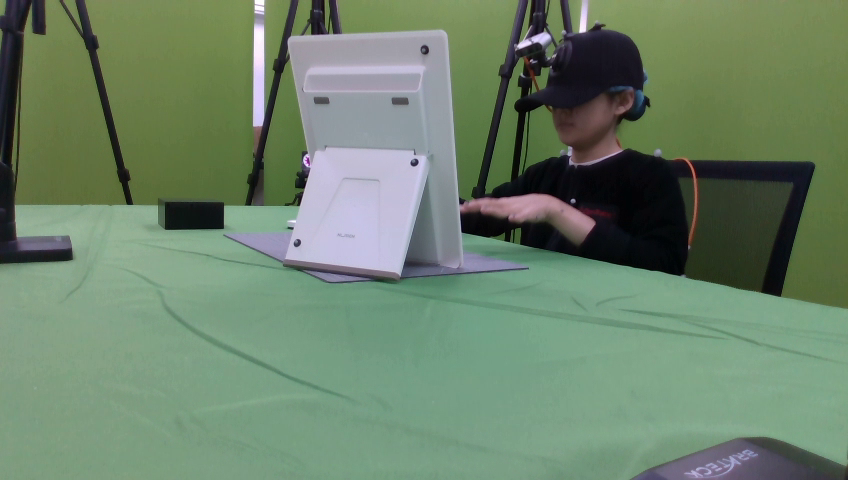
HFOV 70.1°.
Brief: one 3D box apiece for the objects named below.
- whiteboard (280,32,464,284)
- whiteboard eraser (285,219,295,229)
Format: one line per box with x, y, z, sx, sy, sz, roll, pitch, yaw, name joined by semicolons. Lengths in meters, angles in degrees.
-0.087;-0.080;0.728;0.216;0.305;0.144;7;28;24;whiteboard
-0.227;-0.032;1.203;0.102;0.019;0.041;0;7;-33;whiteboard eraser
